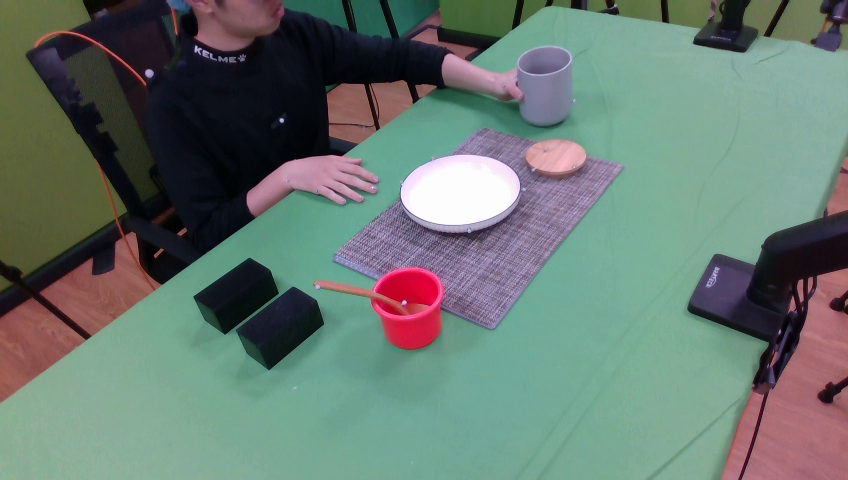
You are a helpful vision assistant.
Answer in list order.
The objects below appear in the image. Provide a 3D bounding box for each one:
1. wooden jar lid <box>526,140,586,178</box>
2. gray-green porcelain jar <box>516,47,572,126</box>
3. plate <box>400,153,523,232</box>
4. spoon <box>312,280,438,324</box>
[{"bbox_3d":[0.240,-0.147,1.103,0.108,0.021,0.108,-4,42,4],"label":"wooden jar lid"},{"bbox_3d":[0.238,-0.298,1.197,0.106,0.127,0.105,-7,46,7],"label":"gray-green porcelain jar"},{"bbox_3d":[0.065,-0.078,1.034,0.207,0.039,0.206,-4,41,4],"label":"plate"},{"bbox_3d":[-0.060,0.078,0.793,0.195,0.021,0.041,24,25,-35],"label":"spoon"}]
